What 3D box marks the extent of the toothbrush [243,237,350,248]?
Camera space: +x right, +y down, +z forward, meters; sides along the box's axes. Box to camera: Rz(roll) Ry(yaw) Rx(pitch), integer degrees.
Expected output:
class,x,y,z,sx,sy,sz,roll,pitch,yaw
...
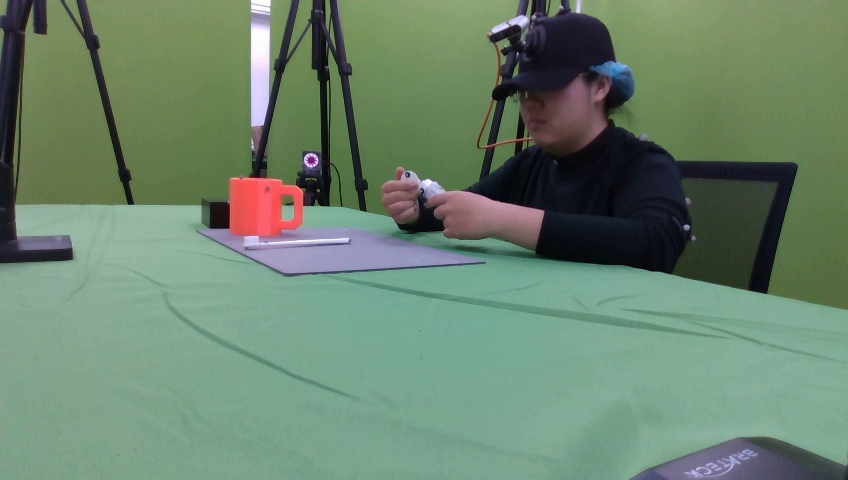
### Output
class,x,y,z,sx,sy,sz,roll,pitch,yaw
toothbrush,-0.191,0.002,0.927,0.183,0.016,0.014,-2,-7,-41

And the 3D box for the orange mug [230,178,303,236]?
class,x,y,z,sx,sy,sz,roll,pitch,yaw
orange mug,-0.275,-0.060,1.058,0.126,0.101,0.083,-2,8,-5

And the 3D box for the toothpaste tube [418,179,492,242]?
class,x,y,z,sx,sy,sz,roll,pitch,yaw
toothpaste tube,0.052,-0.053,1.047,0.164,0.034,0.055,42,10,23

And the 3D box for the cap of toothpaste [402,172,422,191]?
class,x,y,z,sx,sy,sz,roll,pitch,yaw
cap of toothpaste,-0.021,-0.104,1.066,0.037,0.037,0.011,5,23,22
